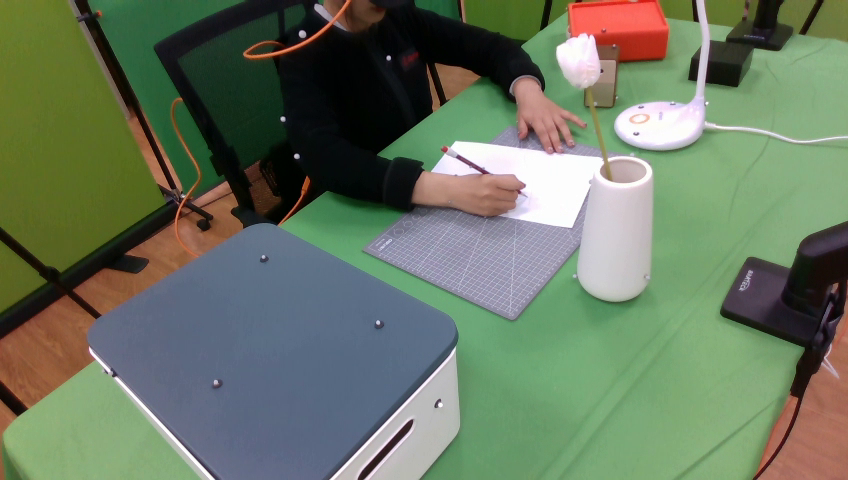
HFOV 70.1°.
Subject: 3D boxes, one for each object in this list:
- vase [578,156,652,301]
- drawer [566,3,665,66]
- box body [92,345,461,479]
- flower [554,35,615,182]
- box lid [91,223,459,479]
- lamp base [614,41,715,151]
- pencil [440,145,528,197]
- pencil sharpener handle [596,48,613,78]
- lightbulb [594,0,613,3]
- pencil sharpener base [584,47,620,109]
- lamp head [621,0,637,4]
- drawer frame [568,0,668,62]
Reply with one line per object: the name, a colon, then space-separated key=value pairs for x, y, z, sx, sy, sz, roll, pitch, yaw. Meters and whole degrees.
vase: x=0.261 y=-0.011 z=0.812 sx=0.098 sy=0.201 sz=0.097 roll=-4 pitch=40 yaw=4
drawer: x=0.447 y=-0.493 z=1.440 sx=0.211 sy=0.073 sz=0.194 roll=0 pitch=40 yaw=10
box body: x=-0.162 y=0.170 z=0.708 sx=0.361 sy=0.161 sz=0.255 roll=25 pitch=50 yaw=34
flower: x=0.237 y=-0.083 z=0.774 sx=0.044 sy=0.363 sz=0.038 roll=-22 pitch=26 yaw=7
box lid: x=-0.174 y=0.103 z=0.667 sx=0.368 sy=0.015 sz=0.264 roll=24 pitch=48 yaw=35
lamp base: x=0.449 y=-0.277 z=1.106 sx=0.179 sy=0.181 sz=0.160 roll=1 pitch=41 yaw=9
pencil: x=0.104 y=-0.111 z=1.003 sx=0.196 sy=0.012 sz=0.012 roll=25 pitch=28 yaw=-30
pencil sharpener handle: x=0.382 y=-0.378 z=1.276 sx=0.036 sy=0.068 sz=0.030 roll=4 pitch=42 yaw=20
lightbulb: x=0.305 y=-0.437 z=0.978 sx=0.060 sy=0.107 sz=0.059 roll=12 pitch=43 yaw=-11
pencil sharpener base: x=0.367 y=-0.336 z=1.249 sx=0.061 sy=0.107 sz=0.076 roll=6 pitch=42 yaw=19
lamp head: x=0.319 y=-0.453 z=0.962 sx=0.113 sy=0.123 sz=0.112 roll=20 pitch=33 yaw=-13
drawer frame: x=0.450 y=-0.495 z=1.441 sx=0.213 sy=0.083 sz=0.201 roll=-1 pitch=40 yaw=9
